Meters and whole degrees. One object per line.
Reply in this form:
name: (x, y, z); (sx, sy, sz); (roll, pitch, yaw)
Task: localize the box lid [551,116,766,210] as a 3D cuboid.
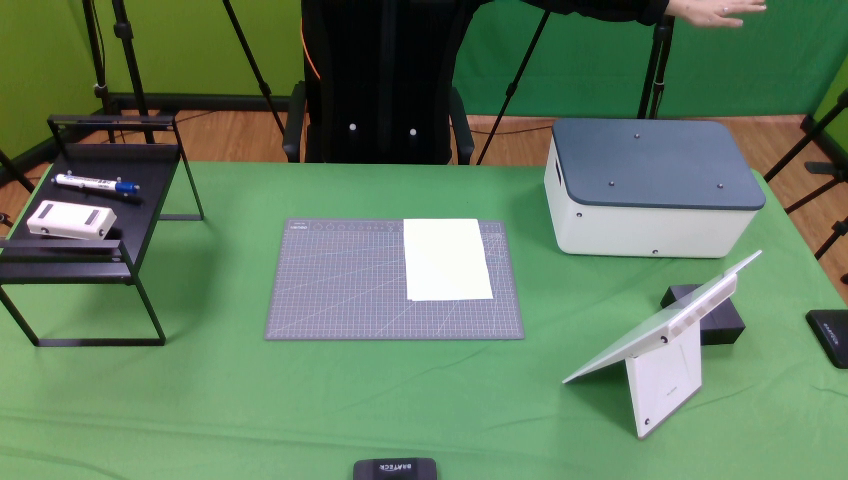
box lid: (0.446, -0.155, 1.178); (0.372, 0.015, 0.261); (1, 47, -2)

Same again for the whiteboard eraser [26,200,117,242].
whiteboard eraser: (-0.532, -0.026, 0.919); (0.113, 0.042, 0.055); (7, 45, 3)

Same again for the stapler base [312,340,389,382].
stapler base: (-0.123, 0.189, 0.997); (0.130, 0.024, 0.041); (20, 49, 16)

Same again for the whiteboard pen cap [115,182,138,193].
whiteboard pen cap: (-0.483, -0.086, 0.984); (0.033, 0.018, 0.018); (7, 46, 10)

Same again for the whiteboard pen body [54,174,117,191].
whiteboard pen body: (-0.541, -0.093, 0.993); (0.140, 0.017, 0.017); (7, 46, 9)

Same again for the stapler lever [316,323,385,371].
stapler lever: (-0.120, 0.171, 0.979); (0.118, 0.040, 0.027); (21, 49, 15)

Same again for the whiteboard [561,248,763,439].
whiteboard: (0.386, 0.176, 0.905); (0.217, 0.306, 0.143); (-26, 72, -27)

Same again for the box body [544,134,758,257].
box body: (0.442, -0.103, 1.233); (0.364, 0.161, 0.252); (1, 46, -3)

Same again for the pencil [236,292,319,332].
pencil: (-0.244, 0.131, 1.055); (0.193, 0.012, 0.012); (22, 49, 12)
